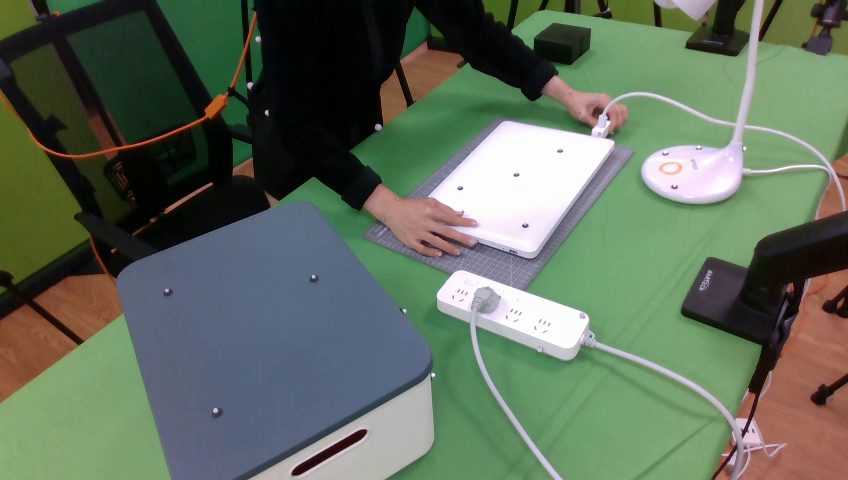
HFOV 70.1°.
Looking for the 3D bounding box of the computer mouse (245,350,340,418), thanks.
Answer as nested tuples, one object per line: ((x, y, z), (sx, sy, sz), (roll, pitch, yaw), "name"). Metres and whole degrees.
((-0.165, 0.173, 0.754), (0.118, 0.041, 0.062), (-18, 34, -18), "computer mouse")

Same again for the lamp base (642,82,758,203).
((0.464, -0.174, 0.993), (0.179, 0.181, 0.159), (-5, 41, -2), "lamp base")

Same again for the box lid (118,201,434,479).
((-0.182, 0.087, 0.675), (0.264, 0.015, 0.368), (-25, 42, -20), "box lid")

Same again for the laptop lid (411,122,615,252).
((0.164, -0.112, 1.069), (0.240, 0.013, 0.357), (18, 46, 31), "laptop lid")

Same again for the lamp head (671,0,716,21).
((0.375, -0.373, 0.808), (0.122, 0.113, 0.112), (-40, 27, 32), "lamp head")

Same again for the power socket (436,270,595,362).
((0.118, 0.101, 0.832), (0.225, 0.033, 0.072), (19, 48, 27), "power socket")

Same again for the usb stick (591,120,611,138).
((0.334, -0.204, 1.151), (0.021, 0.027, 0.059), (23, 51, 25), "usb stick")

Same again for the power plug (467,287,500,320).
((0.073, 0.092, 0.814), (0.035, 0.053, 0.073), (29, 54, 34), "power plug")

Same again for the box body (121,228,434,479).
((-0.175, 0.142, 0.725), (0.255, 0.161, 0.360), (-25, 44, -20), "box body")

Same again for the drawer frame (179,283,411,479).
((-0.155, 0.179, 0.727), (0.202, 0.083, 0.211), (-28, 49, -20), "drawer frame")

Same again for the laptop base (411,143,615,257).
((0.167, -0.103, 1.074), (0.234, 0.023, 0.355), (16, 45, 31), "laptop base")

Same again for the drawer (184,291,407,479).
((-0.155, 0.179, 0.720), (0.195, 0.073, 0.210), (-27, 40, -21), "drawer")
